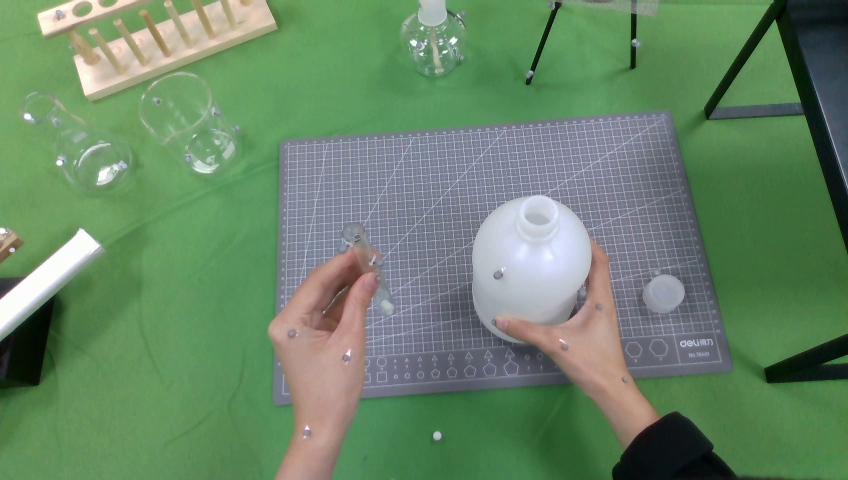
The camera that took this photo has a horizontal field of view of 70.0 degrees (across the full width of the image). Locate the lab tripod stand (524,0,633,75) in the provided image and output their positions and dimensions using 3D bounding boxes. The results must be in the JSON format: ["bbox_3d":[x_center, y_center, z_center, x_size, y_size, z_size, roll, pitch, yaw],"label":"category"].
[{"bbox_3d":[0.176,-0.260,0.672,0.148,0.132,0.147,0,68,1],"label":"lab tripod stand"}]

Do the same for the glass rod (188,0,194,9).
[{"bbox_3d":[-0.293,-0.323,0.668,0.008,0.201,0.008,-4,63,8],"label":"glass rod"}]

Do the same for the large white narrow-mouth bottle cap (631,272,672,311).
[{"bbox_3d":[0.230,0.052,0.611,0.038,0.024,0.037,-1,70,2],"label":"large white narrow-mouth bottle cap"}]

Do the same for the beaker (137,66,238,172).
[{"bbox_3d":[-0.251,-0.123,0.655,0.074,0.101,0.083,10,70,7],"label":"beaker"}]

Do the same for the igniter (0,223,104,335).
[{"bbox_3d":[-0.424,0.089,0.569,0.057,0.025,0.276,39,72,13],"label":"igniter"}]

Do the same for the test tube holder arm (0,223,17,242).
[{"bbox_3d":[-0.472,0.051,0.588,0.013,0.015,0.178,39,74,15],"label":"test tube holder arm"}]

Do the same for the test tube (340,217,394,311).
[{"bbox_3d":[-0.039,0.024,0.454,0.017,0.151,0.017,-2,64,5],"label":"test tube"}]

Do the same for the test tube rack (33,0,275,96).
[{"bbox_3d":[-0.312,-0.264,0.717,0.242,0.086,0.066,-24,70,-7],"label":"test tube rack"}]

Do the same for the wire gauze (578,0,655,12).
[{"bbox_3d":[0.181,-0.287,0.610,0.121,0.011,0.124,16,71,6],"label":"wire gauze"}]

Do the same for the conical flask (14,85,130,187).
[{"bbox_3d":[-0.376,-0.114,0.643,0.075,0.123,0.075,-1,69,2],"label":"conical flask"}]

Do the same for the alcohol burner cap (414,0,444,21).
[{"bbox_3d":[0.004,-0.264,0.652,0.034,0.048,0.033,0,68,2],"label":"alcohol burner cap"}]

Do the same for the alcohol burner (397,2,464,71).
[{"bbox_3d":[0.007,-0.249,0.685,0.078,0.120,0.077,0,67,1],"label":"alcohol burner"}]

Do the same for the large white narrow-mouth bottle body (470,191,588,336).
[{"bbox_3d":[0.091,0.015,0.534,0.102,0.196,0.101,-2,66,5],"label":"large white narrow-mouth bottle body"}]

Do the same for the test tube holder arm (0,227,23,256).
[{"bbox_3d":[-0.438,0.023,0.598,0.010,0.015,0.087,40,75,15],"label":"test tube holder arm"}]
